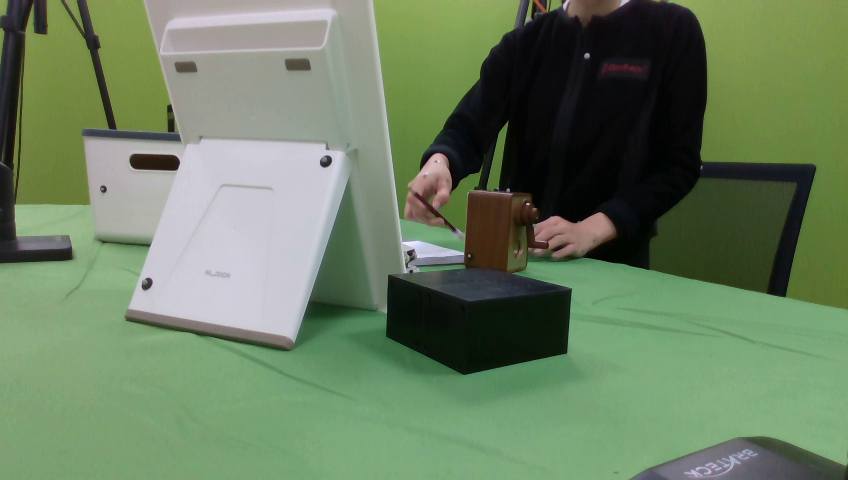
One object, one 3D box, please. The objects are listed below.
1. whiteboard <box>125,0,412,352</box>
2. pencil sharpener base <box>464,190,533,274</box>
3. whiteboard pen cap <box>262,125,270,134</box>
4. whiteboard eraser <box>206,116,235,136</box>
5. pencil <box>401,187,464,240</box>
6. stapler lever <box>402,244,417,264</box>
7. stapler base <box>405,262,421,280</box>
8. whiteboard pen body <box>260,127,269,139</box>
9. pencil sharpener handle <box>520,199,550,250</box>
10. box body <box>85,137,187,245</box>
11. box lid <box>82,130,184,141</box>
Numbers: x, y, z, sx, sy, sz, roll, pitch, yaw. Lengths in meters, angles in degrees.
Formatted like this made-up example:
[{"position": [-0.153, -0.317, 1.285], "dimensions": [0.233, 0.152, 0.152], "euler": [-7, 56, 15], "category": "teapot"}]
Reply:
[{"position": [-0.151, -0.049, 0.472], "dimensions": [0.216, 0.305, 0.144], "euler": [6, 27, 24], "category": "whiteboard"}, {"position": [0.103, -0.012, 0.813], "dimensions": [0.076, 0.107, 0.061], "euler": [8, 9, 36], "category": "pencil sharpener base"}, {"position": [-0.349, -0.244, 1.337], "dimensions": [0.018, 0.018, 0.033], "euler": [0, 2, -17], "category": "whiteboard pen cap"}, {"position": [-0.450, -0.252, 1.335], "dimensions": [0.056, 0.042, 0.112], "euler": [1, 7, -22], "category": "whiteboard eraser"}, {"position": [0.015, -0.037, 0.873], "dimensions": [0.012, 0.012, 0.195], "euler": [7, -16, 32], "category": "pencil"}, {"position": [-0.066, 0.003, 0.755], "dimensions": [0.117, 0.040, 0.027], "euler": [9, 13, 23], "category": "stapler lever"}, {"position": [-0.069, 0.027, 0.759], "dimensions": [0.130, 0.024, 0.041], "euler": [9, 13, 23], "category": "stapler base"}, {"position": [-0.366, -0.247, 1.392], "dimensions": [0.017, 0.017, 0.140], "euler": [0, 3, -17], "category": "whiteboard pen body"}, {"position": [0.147, -0.019, 0.785], "dimensions": [0.030, 0.068, 0.036], "euler": [8, 25, 36], "category": "pencil sharpener handle"}, {"position": [-0.340, -0.088, 1.022], "dimensions": [0.254, 0.160, 0.364], "euler": [4, 7, 11], "category": "box body"}, {"position": [-0.337, -0.161, 1.011], "dimensions": [0.263, 0.015, 0.372], "euler": [4, 6, 11], "category": "box lid"}]
